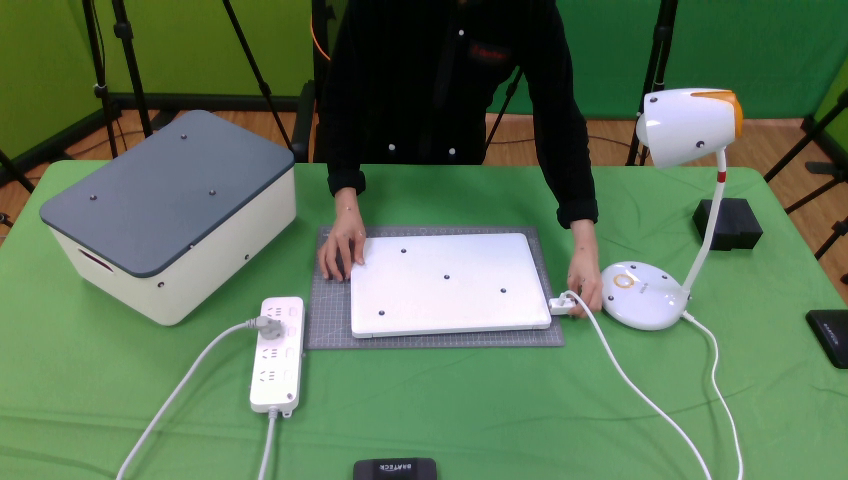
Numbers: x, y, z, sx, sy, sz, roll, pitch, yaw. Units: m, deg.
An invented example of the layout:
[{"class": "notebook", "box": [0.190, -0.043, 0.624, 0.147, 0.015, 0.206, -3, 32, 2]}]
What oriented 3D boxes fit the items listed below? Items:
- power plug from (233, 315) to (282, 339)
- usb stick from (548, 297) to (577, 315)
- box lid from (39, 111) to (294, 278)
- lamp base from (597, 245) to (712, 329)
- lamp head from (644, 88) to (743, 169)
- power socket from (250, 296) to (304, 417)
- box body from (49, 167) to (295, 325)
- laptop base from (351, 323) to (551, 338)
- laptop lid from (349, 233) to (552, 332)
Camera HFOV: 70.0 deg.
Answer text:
[{"class": "power plug", "box": [-0.271, 0.144, 1.000, 0.072, 0.053, 0.035, 5, 46, 3]}, {"class": "usb stick", "box": [0.241, 0.119, 1.087, 0.059, 0.027, 0.021, -4, 54, -4]}, {"class": "box lid", "box": [-0.434, -0.097, 1.055, 0.262, 0.015, 0.370, 25, 49, 18]}, {"class": "lamp base", "box": [0.418, 0.051, 1.071, 0.179, 0.181, 0.160, 23, 49, 13]}, {"class": "lamp head", "box": [0.380, -0.161, 0.851, 0.122, 0.113, 0.112, -4, 42, 25]}, {"class": "power socket", "box": [-0.239, 0.182, 0.996, 0.072, 0.033, 0.225, -2, 47, -5]}, {"class": "box body", "box": [-0.437, -0.046, 1.110, 0.253, 0.161, 0.363, 24, 49, 19]}, {"class": "laptop base", "box": [0.040, 0.081, 1.126, 0.355, 0.023, 0.234, -2, 43, -6]}, {"class": "laptop lid", "box": [0.040, 0.071, 1.119, 0.357, 0.013, 0.240, -1, 44, -5]}]
